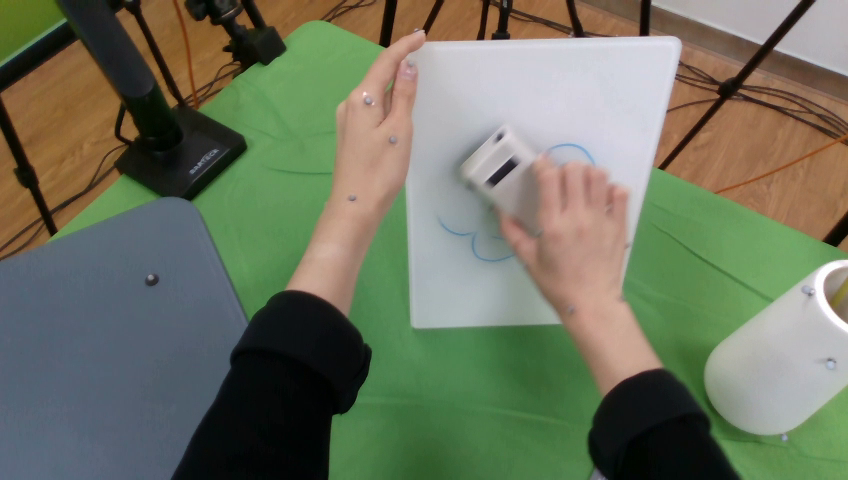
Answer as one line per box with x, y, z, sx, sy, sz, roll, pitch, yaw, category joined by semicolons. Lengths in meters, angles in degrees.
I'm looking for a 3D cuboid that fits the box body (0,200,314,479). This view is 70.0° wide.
-0.236;0.180;0.483;0.254;0.162;0.360;-26;61;-16;box body

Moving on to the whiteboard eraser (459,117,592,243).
0.086;-0.050;0.511;0.113;0.055;0.041;37;26;-26;whiteboard eraser

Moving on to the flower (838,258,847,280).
0.316;0.034;0.464;0.044;0.364;0.038;22;42;17;flower

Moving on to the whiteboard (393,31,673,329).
0.085;-0.073;0.603;0.217;0.308;0.142;-1;38;-1;whiteboard

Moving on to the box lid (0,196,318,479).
-0.237;0.138;0.422;0.263;0.015;0.368;-25;61;-17;box lid

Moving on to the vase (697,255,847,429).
0.315;0.092;0.526;0.098;0.201;0.097;0;56;0;vase
